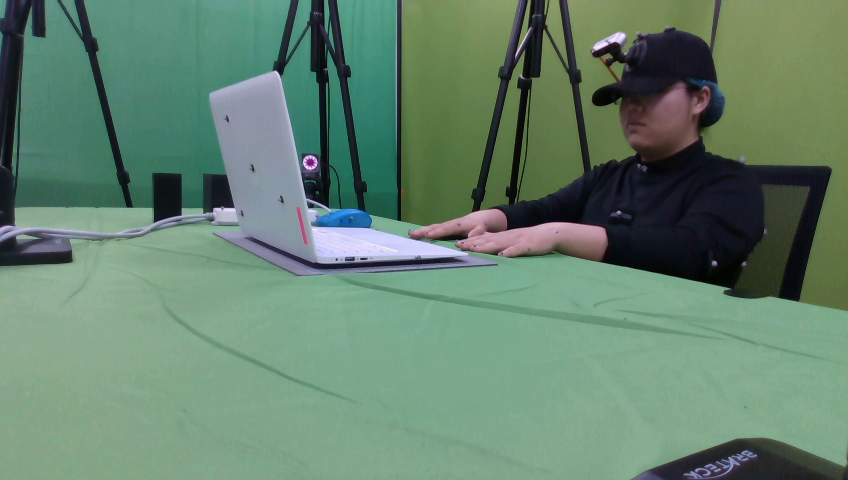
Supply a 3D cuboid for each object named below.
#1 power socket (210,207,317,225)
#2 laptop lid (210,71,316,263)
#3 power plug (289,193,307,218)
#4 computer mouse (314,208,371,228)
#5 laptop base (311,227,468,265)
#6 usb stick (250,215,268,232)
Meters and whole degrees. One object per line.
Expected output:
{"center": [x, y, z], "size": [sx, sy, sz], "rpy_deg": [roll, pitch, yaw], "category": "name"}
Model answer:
{"center": [-0.335, -0.051, 1.281], "size": [0.228, 0.032, 0.072], "rpy_deg": [-1, 8, -28], "category": "power socket"}
{"center": [-0.241, -0.104, 0.861], "size": [0.013, 0.241, 0.355], "rpy_deg": [-16, 17, -29], "category": "laptop lid"}
{"center": [-0.281, -0.076, 1.341], "size": [0.035, 0.052, 0.072], "rpy_deg": [3, 7, -17], "category": "power plug"}
{"center": [-0.173, -0.046, 1.284], "size": [0.118, 0.041, 0.062], "rpy_deg": [-7, 13, -30], "category": "computer mouse"}
{"center": [-0.123, 0.007, 0.952], "size": [0.237, 0.023, 0.352], "rpy_deg": [2, 6, -32], "category": "laptop base"}
{"center": [-0.290, -0.028, 1.069], "size": [0.021, 0.027, 0.059], "rpy_deg": [-1, 11, -30], "category": "usb stick"}
